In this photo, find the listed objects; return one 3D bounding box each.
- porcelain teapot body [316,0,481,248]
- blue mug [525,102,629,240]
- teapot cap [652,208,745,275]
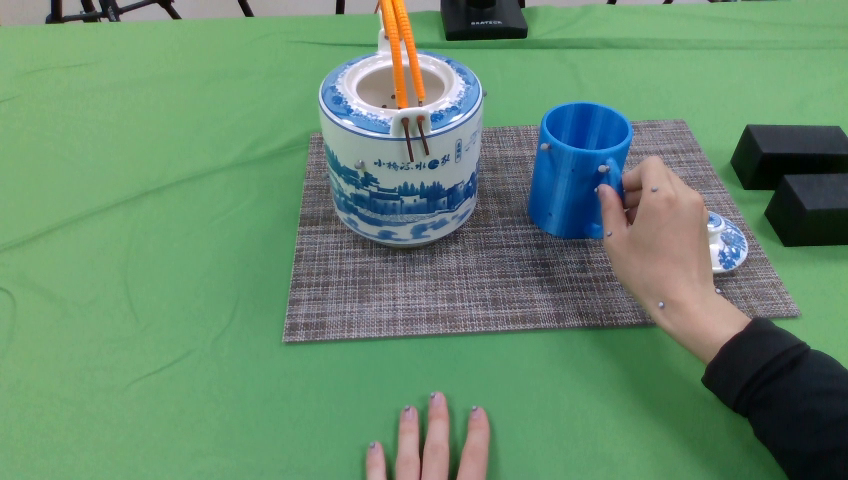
[{"bbox_3d":[-0.027,-0.130,0.564,0.145,0.227,0.203,-8,46,-7],"label":"porcelain teapot body"},{"bbox_3d":[0.150,-0.055,0.574,0.082,0.107,0.115,-14,47,-13],"label":"blue mug"},{"bbox_3d":[0.258,-0.005,0.567,0.085,0.044,0.084,1,44,-1],"label":"teapot cap"}]
